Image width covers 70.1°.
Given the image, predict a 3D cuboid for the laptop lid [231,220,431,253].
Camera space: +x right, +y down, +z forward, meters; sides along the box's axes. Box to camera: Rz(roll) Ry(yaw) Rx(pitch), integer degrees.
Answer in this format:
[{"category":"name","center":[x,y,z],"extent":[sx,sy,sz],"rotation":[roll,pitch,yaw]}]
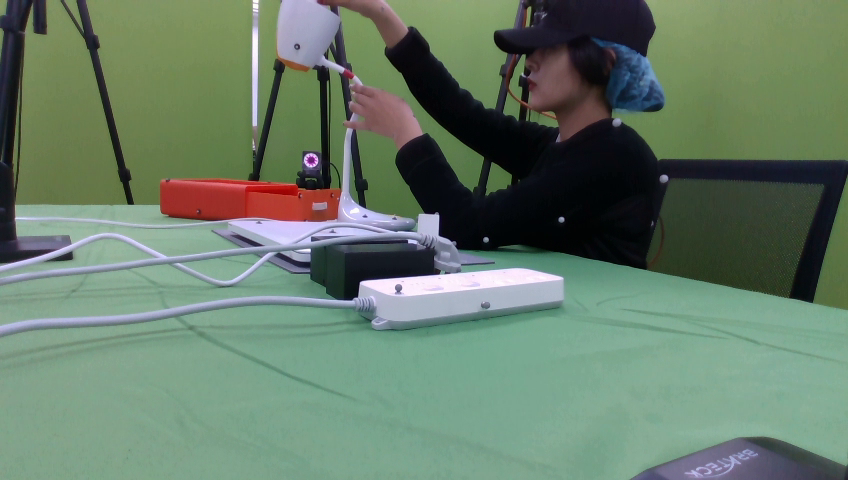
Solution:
[{"category":"laptop lid","center":[-0.142,-0.009,0.942],"extent":[0.243,0.013,0.355],"rotation":[1,7,-31]}]

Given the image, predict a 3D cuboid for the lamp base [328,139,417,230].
[{"category":"lamp base","center":[-0.105,-0.113,1.212],"extent":[0.180,0.180,0.160],"rotation":[-3,7,-14]}]

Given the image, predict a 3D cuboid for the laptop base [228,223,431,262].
[{"category":"laptop base","center":[-0.145,0.002,0.942],"extent":[0.237,0.023,0.352],"rotation":[2,6,-32]}]

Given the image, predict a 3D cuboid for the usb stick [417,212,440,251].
[{"category":"usb stick","center":[0.005,-0.003,0.721],"extent":[0.027,0.059,0.021],"rotation":[0,-3,-3]}]

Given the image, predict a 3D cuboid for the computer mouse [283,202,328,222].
[{"category":"computer mouse","center":[-0.251,-0.060,1.287],"extent":[0.063,0.041,0.117],"rotation":[3,4,11]}]

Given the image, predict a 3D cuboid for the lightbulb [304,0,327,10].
[{"category":"lightbulb","center":[-0.216,-0.407,1.119],"extent":[0.059,0.107,0.059],"rotation":[18,9,-2]}]

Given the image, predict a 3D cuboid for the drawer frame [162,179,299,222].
[{"category":"drawer frame","center":[-0.418,-0.089,1.329],"extent":[0.213,0.082,0.202],"rotation":[4,8,18]}]

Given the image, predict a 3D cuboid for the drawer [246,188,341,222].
[{"category":"drawer","center":[-0.312,-0.078,1.296],"extent":[0.211,0.073,0.195],"rotation":[4,9,17]}]

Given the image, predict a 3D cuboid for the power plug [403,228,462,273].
[{"category":"power plug","center":[0.006,0.016,0.647],"extent":[0.073,0.052,0.035],"rotation":[18,12,-5]}]

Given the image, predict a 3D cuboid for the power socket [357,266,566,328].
[{"category":"power socket","center":[0.042,0.049,0.573],"extent":[0.228,0.032,0.072],"rotation":[-3,8,-34]}]

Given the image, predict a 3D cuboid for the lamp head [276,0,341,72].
[{"category":"lamp head","center":[-0.222,-0.374,1.124],"extent":[0.112,0.123,0.112],"rotation":[17,10,-3]}]
